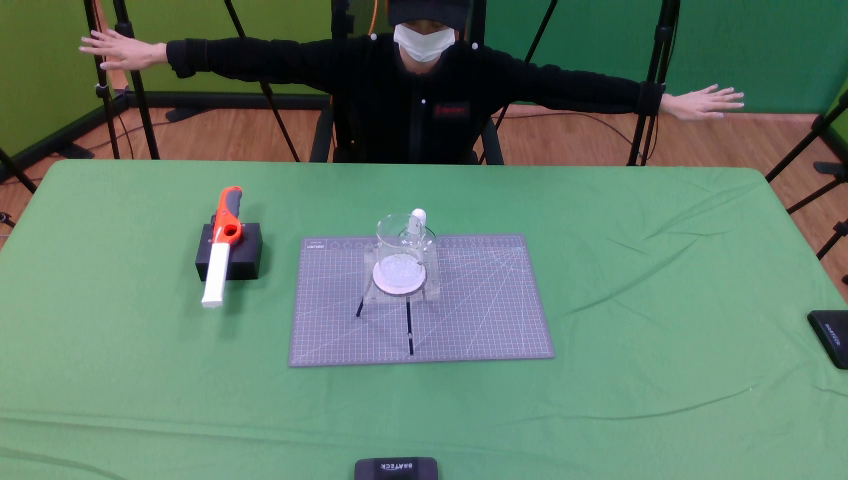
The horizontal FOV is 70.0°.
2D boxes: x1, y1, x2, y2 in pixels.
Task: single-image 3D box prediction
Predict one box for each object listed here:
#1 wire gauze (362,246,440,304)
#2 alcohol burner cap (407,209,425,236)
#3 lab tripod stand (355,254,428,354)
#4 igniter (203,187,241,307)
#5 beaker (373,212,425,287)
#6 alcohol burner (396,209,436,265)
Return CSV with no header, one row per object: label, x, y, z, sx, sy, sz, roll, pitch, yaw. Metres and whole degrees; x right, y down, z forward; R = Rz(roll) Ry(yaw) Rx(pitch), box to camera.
wire gauze,-0.038,0.052,0.972,0.121,0.011,0.124,0,44,-5
alcohol burner cap,-0.013,-0.036,1.115,0.034,0.048,0.033,5,42,-4
lab tripod stand,-0.046,0.100,1.016,0.148,0.132,0.147,1,47,-1
igniter,-0.365,0.003,1.098,0.057,0.025,0.274,-1,49,-7
beaker,-0.036,0.019,0.936,0.074,0.101,0.083,-29,54,-26
alcohol burner,-0.015,-0.011,1.140,0.078,0.120,0.077,2,44,-1
